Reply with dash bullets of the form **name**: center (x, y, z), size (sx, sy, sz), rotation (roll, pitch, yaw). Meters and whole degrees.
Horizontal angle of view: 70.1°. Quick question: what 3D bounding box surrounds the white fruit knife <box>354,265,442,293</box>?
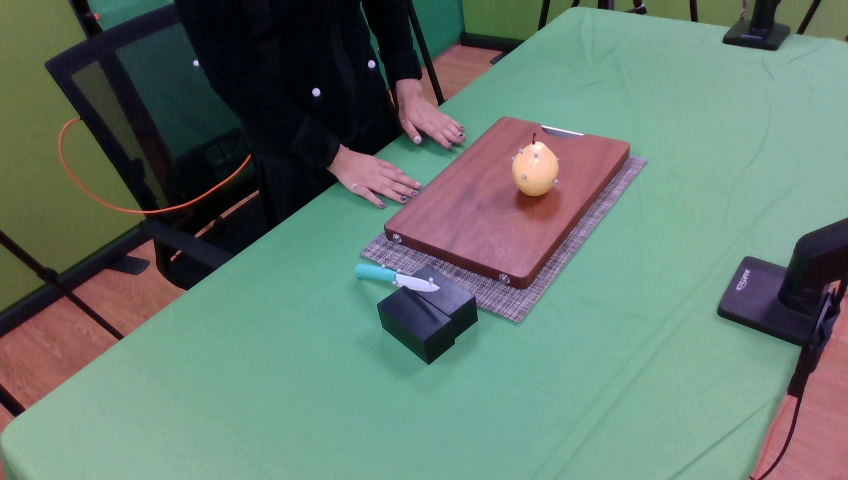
- **white fruit knife**: center (-0.041, 0.055, 0.867), size (0.016, 0.027, 0.205), rotation (-31, 23, -34)

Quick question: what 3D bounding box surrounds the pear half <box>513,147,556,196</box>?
- **pear half**: center (0.178, -0.106, 0.977), size (0.070, 0.088, 0.031), rotation (7, 43, 12)

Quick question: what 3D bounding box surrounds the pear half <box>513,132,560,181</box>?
- **pear half**: center (0.186, -0.136, 0.996), size (0.076, 0.110, 0.056), rotation (6, 42, 13)
